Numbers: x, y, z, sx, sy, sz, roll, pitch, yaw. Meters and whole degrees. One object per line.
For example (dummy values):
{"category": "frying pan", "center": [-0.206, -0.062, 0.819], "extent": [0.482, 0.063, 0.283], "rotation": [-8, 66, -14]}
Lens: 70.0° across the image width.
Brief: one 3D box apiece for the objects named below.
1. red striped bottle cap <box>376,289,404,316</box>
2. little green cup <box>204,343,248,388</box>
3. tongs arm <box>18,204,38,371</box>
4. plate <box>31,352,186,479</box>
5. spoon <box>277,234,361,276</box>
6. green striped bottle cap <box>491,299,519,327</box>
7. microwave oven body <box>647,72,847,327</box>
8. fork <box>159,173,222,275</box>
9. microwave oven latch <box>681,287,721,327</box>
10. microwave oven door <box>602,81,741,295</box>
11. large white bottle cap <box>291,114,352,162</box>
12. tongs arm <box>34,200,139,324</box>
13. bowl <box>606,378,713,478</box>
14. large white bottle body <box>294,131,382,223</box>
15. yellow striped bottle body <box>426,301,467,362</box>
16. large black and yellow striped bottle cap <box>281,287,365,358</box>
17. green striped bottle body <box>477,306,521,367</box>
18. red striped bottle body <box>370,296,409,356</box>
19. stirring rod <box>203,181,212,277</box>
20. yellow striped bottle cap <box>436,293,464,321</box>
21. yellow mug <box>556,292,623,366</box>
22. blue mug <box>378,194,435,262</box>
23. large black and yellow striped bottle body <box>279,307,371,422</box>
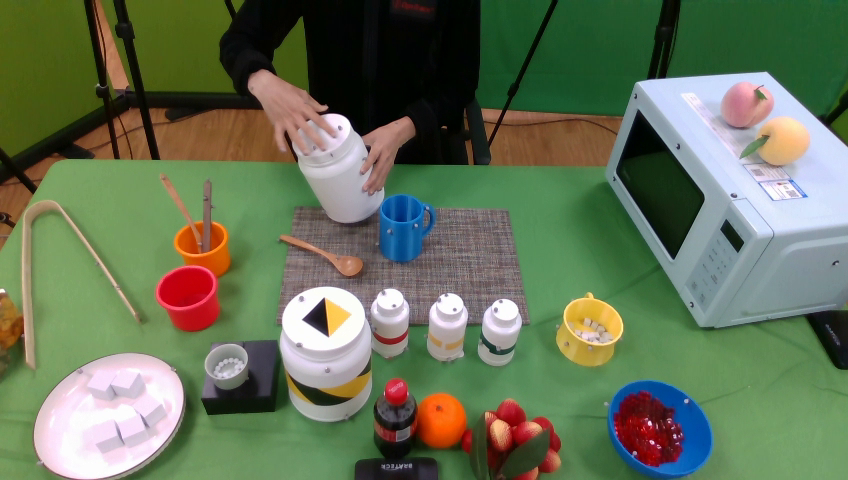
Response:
{"category": "red striped bottle cap", "center": [-0.054, 0.098, 0.958], "extent": [0.044, 0.018, 0.044], "rotation": [0, 48, 1]}
{"category": "little green cup", "center": [-0.294, 0.190, 0.909], "extent": [0.061, 0.039, 0.061], "rotation": [1, 48, -1]}
{"category": "tongs arm", "center": [-0.698, 0.070, 1.069], "extent": [0.028, 0.028, 0.385], "rotation": [-21, 51, -13]}
{"category": "plate", "center": [-0.459, 0.262, 0.898], "extent": [0.209, 0.038, 0.208], "rotation": [2, 46, -2]}
{"category": "spoon", "center": [-0.202, 0.023, 1.155], "extent": [0.193, 0.022, 0.041], "rotation": [23, 70, 17]}
{"category": "green striped bottle cap", "center": [0.128, 0.115, 0.958], "extent": [0.044, 0.020, 0.044], "rotation": [1, 47, -1]}
{"category": "microwave oven body", "center": [0.607, -0.089, 1.164], "extent": [0.326, 0.261, 0.438], "rotation": [-7, 46, -10]}
{"category": "fork", "center": [-0.427, -0.029, 1.103], "extent": [0.028, 0.018, 0.207], "rotation": [-31, 99, -31]}
{"category": "microwave oven latch", "center": [0.494, 0.119, 1.087], "extent": [0.030, 0.029, 0.078], "rotation": [-6, 46, -9]}
{"category": "microwave oven door", "center": [0.456, -0.107, 1.162], "extent": [0.039, 0.245, 0.353], "rotation": [-7, 47, -11]}
{"category": "large white bottle cap", "center": [-0.189, -0.188, 1.113], "extent": [0.115, 0.018, 0.114], "rotation": [-9, 50, 11]}
{"category": "tongs arm", "center": [-0.622, 0.034, 1.105], "extent": [0.051, 0.026, 0.382], "rotation": [-32, 56, -25]}
{"category": "bowl", "center": [0.340, 0.292, 0.906], "extent": [0.151, 0.077, 0.150], "rotation": [2, 46, -2]}
{"category": "large white bottle body", "center": [-0.168, -0.136, 1.179], "extent": [0.130, 0.186, 0.130], "rotation": [-9, 51, 11]}
{"category": "yellow striped bottle body", "center": [0.037, 0.142, 0.996], "extent": [0.063, 0.121, 0.062], "rotation": [2, 46, -2]}
{"category": "large black and yellow striped bottle cap", "center": [-0.141, 0.112, 0.847], "extent": [0.115, 0.019, 0.114], "rotation": [5, 45, -4]}
{"category": "green striped bottle body", "center": [0.124, 0.151, 0.995], "extent": [0.063, 0.120, 0.063], "rotation": [2, 46, -2]}
{"category": "red striped bottle body", "center": [-0.058, 0.134, 0.997], "extent": [0.063, 0.120, 0.062], "rotation": [4, 47, -4]}
{"category": "stirring rod", "center": [-0.396, -0.021, 1.108], "extent": [0.014, 0.006, 0.176], "rotation": [-1, 89, -1]}
{"category": "yellow striped bottle cap", "center": [0.041, 0.106, 0.959], "extent": [0.044, 0.019, 0.044], "rotation": [-1, 50, 1]}
{"category": "yellow mug", "center": [0.285, 0.145, 1.051], "extent": [0.100, 0.064, 0.130], "rotation": [8, 45, 3]}
{"category": "blue mug", "center": [-0.032, -0.027, 1.160], "extent": [0.116, 0.106, 0.082], "rotation": [-19, 51, -21]}
{"category": "large black and yellow striped bottle body", "center": [-0.145, 0.173, 0.907], "extent": [0.131, 0.185, 0.130], "rotation": [2, 46, -2]}
